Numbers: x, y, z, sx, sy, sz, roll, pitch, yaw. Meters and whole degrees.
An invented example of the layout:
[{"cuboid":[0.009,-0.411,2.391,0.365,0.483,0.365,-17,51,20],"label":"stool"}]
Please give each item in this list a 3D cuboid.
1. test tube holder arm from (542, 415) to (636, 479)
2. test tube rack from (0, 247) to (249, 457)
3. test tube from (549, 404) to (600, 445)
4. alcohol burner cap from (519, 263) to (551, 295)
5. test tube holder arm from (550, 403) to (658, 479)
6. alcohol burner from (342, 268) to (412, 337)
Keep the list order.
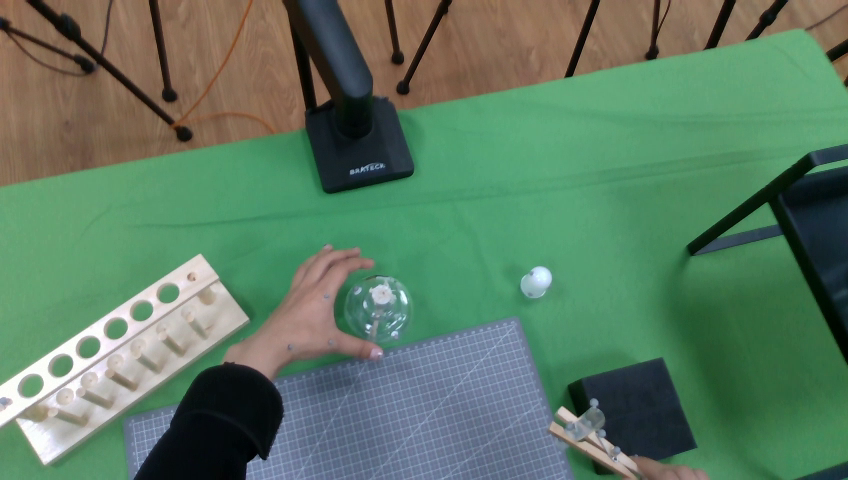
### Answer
[{"cuboid":[0.143,0.180,0.524,0.087,0.015,0.010,30,73,10],"label":"test tube holder arm"},{"cuboid":[-0.309,0.114,0.623,0.242,0.085,0.066,-37,77,-18],"label":"test tube rack"},{"cuboid":[0.127,0.162,0.522,0.017,0.151,0.017,0,65,1],"label":"test tube"},{"cuboid":[0.135,0.045,0.726,0.034,0.048,0.033,2,69,-4],"label":"alcohol burner cap"},{"cuboid":[0.183,0.200,0.517,0.177,0.015,0.013,36,75,12],"label":"test tube holder arm"},{"cuboid":[-0.049,0.064,0.658,0.078,0.119,0.077,3,70,-8],"label":"alcohol burner"}]
